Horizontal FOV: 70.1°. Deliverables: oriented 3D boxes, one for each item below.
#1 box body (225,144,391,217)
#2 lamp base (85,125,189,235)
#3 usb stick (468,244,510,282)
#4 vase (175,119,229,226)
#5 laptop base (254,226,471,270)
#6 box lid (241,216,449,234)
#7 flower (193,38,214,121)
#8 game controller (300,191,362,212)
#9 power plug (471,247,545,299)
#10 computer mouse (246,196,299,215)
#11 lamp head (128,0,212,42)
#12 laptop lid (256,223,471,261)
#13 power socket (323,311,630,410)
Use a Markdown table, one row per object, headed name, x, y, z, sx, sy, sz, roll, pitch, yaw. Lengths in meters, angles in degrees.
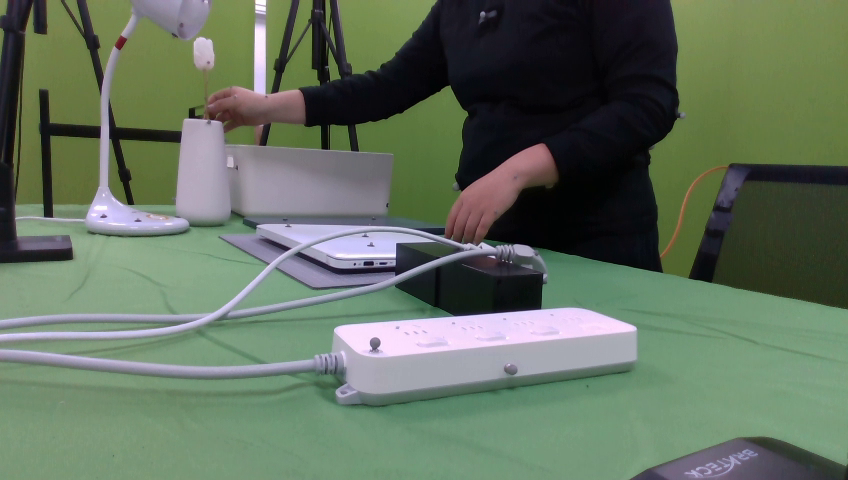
| name | x | y | z | sx | sy | sz | roll | pitch | yaw |
| --- | --- | --- | --- | --- | --- | --- | --- | --- | --- |
| box body | -0.290 | -0.143 | 1.474 | 0.366 | 0.160 | 0.253 | -1 | 9 | -29 |
| lamp base | -0.498 | -0.105 | 1.026 | 0.179 | 0.180 | 0.160 | 1 | 7 | 3 |
| usb stick | 0.079 | 0.028 | 0.673 | 0.059 | 0.021 | 0.027 | 26 | 28 | -28 |
| vase | -0.425 | -0.128 | 1.158 | 0.098 | 0.200 | 0.098 | 2 | 9 | 0 |
| laptop base | -0.096 | 0.011 | 0.911 | 0.237 | 0.023 | 0.352 | 3 | 6 | -32 |
| box lid | -0.163 | -0.030 | 1.233 | 0.373 | 0.015 | 0.262 | -1 | 8 | -32 |
| flower | -0.417 | -0.213 | 1.168 | 0.038 | 0.361 | 0.044 | -5 | -5 | -1 |
| game controller | -0.242 | -0.098 | 1.550 | 0.155 | 0.051 | 0.097 | 2 | 8 | 5 |
| power plug | 0.080 | 0.030 | 0.584 | 0.072 | 0.052 | 0.035 | 12 | 28 | 9 |
| computer mouse | -0.355 | -0.082 | 1.417 | 0.117 | 0.041 | 0.063 | 0 | 10 | 7 |
| lamp head | -0.424 | -0.394 | 0.980 | 0.123 | 0.112 | 0.112 | 21 | 7 | -3 |
| laptop lid | -0.093 | 0.000 | 0.911 | 0.243 | 0.013 | 0.355 | 1 | 7 | -30 |
| power socket | 0.041 | 0.075 | 0.410 | 0.228 | 0.032 | 0.072 | -1 | 7 | -26 |
